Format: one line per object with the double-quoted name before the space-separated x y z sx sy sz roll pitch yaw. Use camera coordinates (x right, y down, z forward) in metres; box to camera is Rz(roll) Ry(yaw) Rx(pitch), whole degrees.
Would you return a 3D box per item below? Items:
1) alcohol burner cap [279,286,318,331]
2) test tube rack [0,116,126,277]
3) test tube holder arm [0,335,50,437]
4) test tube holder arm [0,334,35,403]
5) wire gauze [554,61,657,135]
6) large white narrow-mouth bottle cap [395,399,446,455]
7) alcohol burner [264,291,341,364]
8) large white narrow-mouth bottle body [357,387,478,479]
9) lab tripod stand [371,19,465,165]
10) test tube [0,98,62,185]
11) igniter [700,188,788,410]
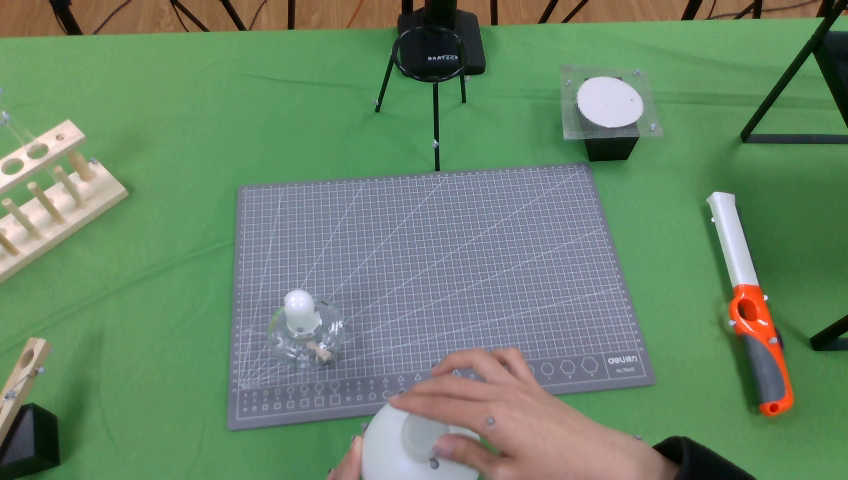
"alcohol burner cap" -0.121 0.063 0.575 0.034 0.048 0.033 0 56 0
"test tube rack" -0.466 -0.025 0.663 0.066 0.086 0.242 40 66 18
"test tube holder arm" -0.387 0.170 0.545 0.013 0.015 0.177 8 61 6
"test tube holder arm" -0.385 0.130 0.567 0.010 0.015 0.087 6 61 5
"wire gauze" 0.231 -0.184 0.782 0.121 0.011 0.124 2 60 -2
"large white narrow-mouth bottle cap" -0.002 0.135 0.437 0.038 0.024 0.037 1 60 -2
"alcohol burner" -0.123 0.080 0.606 0.078 0.120 0.077 2 59 -4
"large white narrow-mouth bottle body" -0.006 0.181 0.515 0.102 0.196 0.101 1 60 -2
"lab tripod stand" 0.002 -0.190 0.756 0.148 0.132 0.147 2 61 -4
"test tube" -0.429 -0.107 0.654 0.017 0.151 0.017 0 59 0
"igniter" 0.366 0.058 0.700 0.057 0.025 0.274 6 60 -12
